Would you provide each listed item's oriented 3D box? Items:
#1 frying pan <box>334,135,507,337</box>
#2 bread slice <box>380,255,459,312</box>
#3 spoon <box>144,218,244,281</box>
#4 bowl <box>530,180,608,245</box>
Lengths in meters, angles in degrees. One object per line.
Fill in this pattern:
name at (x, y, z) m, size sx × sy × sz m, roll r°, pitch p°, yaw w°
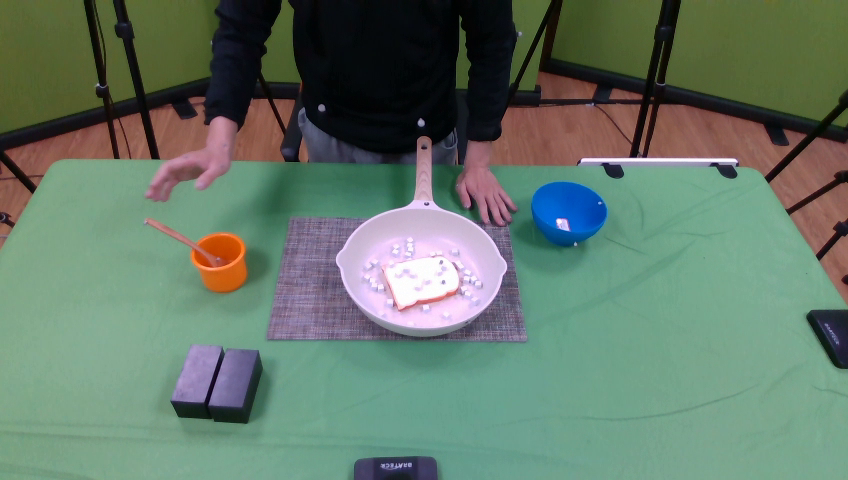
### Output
frying pan at (-0.004, -0.026, 1.160) m, size 0.307 × 0.103 × 0.485 m, roll 4°, pitch 55°, yaw -2°
bread slice at (-0.005, 0.074, 1.119) m, size 0.134 × 0.018 × 0.106 m, roll -16°, pitch 50°, yaw -16°
spoon at (-0.401, 0.015, 1.065) m, size 0.021 × 0.195 × 0.041 m, roll -29°, pitch 35°, yaw 32°
bowl at (0.284, -0.044, 1.222) m, size 0.151 × 0.077 × 0.150 m, roll 2°, pitch 46°, yaw -2°
